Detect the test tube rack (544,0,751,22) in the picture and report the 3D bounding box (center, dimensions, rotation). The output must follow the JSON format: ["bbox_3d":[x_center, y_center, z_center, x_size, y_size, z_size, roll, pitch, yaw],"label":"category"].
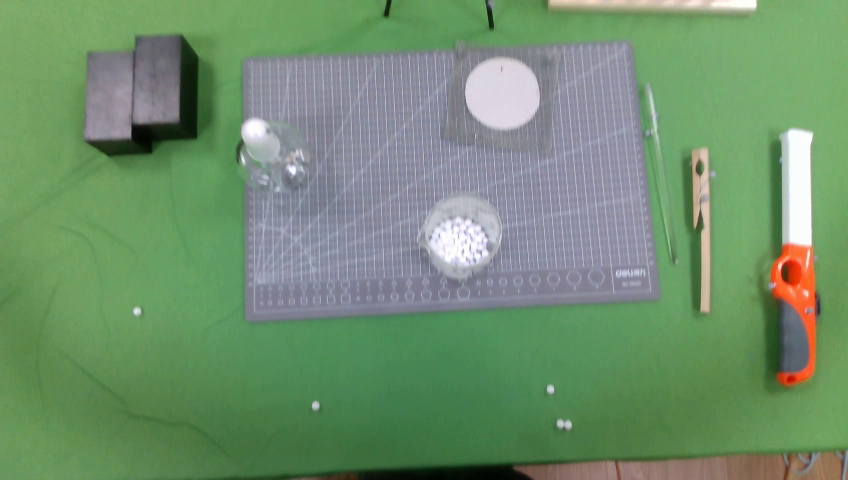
[{"bbox_3d":[0.265,-0.302,0.689,0.242,0.085,0.066,1,79,0],"label":"test tube rack"}]

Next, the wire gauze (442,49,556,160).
[{"bbox_3d":[0.088,-0.159,0.698,0.125,0.011,0.121,8,81,0],"label":"wire gauze"}]

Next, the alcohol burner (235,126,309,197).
[{"bbox_3d":[-0.162,-0.087,0.627,0.078,0.119,0.077,0,78,2],"label":"alcohol burner"}]

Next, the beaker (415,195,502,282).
[{"bbox_3d":[0.033,0.004,0.621,0.084,0.100,0.073,-11,79,-2],"label":"beaker"}]

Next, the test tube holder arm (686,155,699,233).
[{"bbox_3d":[0.303,-0.052,0.679,0.010,0.015,0.087,-5,78,34],"label":"test tube holder arm"}]

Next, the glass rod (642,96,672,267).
[{"bbox_3d":[0.264,-0.068,0.686,0.008,0.008,0.199,-5,82,-2],"label":"glass rod"}]

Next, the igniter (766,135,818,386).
[{"bbox_3d":[0.401,0.020,0.662,0.057,0.025,0.275,7,80,-9],"label":"igniter"}]

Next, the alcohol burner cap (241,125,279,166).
[{"bbox_3d":[-0.162,-0.095,0.592,0.034,0.048,0.033,1,75,-4],"label":"alcohol burner cap"}]

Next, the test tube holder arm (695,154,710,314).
[{"bbox_3d":[0.307,-0.008,0.669,0.013,0.015,0.177,-6,78,34],"label":"test tube holder arm"}]

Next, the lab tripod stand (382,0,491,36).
[{"bbox_3d":[0.019,-0.294,0.660,0.148,0.132,0.148,0,81,0],"label":"lab tripod stand"}]
